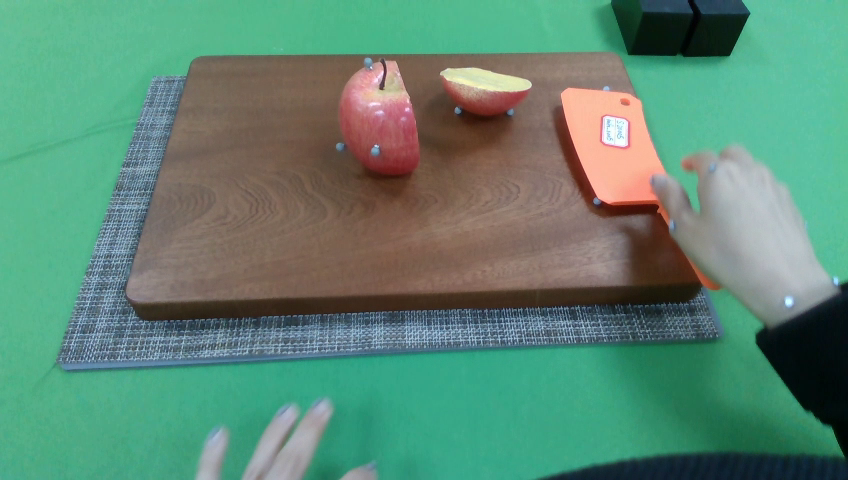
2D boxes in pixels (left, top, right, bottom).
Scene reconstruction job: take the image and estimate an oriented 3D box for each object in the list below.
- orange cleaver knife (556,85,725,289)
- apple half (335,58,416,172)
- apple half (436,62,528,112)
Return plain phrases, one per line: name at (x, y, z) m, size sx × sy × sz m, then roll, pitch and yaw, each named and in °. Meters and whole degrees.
orange cleaver knife at (0.160, -0.051, 0.470) m, size 0.077 × 0.012 × 0.209 m, roll -7°, pitch 55°, yaw -10°
apple half at (-0.040, -0.090, 0.457) m, size 0.053 × 0.075 × 0.080 m, roll -13°, pitch 58°, yaw -7°
apple half at (0.044, -0.123, 0.505) m, size 0.081 × 0.033 × 0.080 m, roll 7°, pitch 28°, yaw -3°
